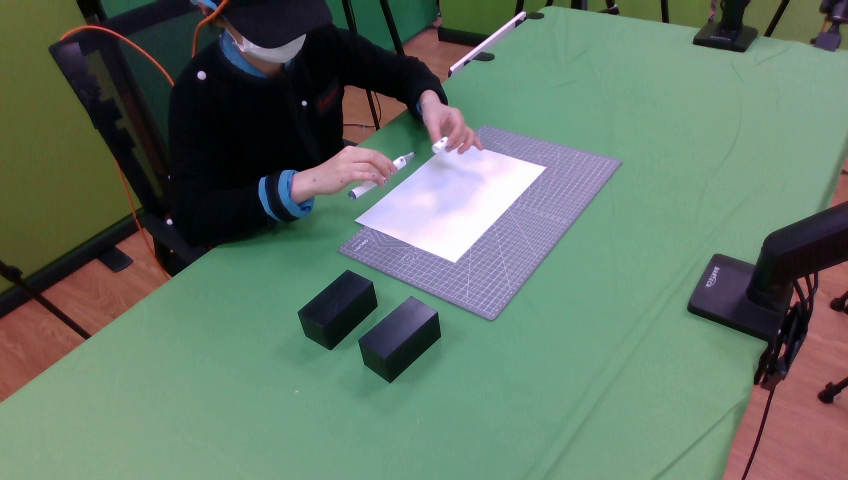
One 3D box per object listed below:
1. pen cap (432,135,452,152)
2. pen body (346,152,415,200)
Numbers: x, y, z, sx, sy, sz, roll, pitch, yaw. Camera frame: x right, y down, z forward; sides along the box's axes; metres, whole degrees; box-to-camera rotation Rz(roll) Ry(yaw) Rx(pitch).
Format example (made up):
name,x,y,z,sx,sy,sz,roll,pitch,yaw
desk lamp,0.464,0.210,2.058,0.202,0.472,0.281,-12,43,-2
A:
name,x,y,z,sx,sy,sz,roll,pitch,yaw
pen cap,0.031,-0.166,1.037,0.017,0.017,0.038,25,50,32
pen body,-0.065,-0.105,0.965,0.144,0.017,0.017,-37,49,-27
